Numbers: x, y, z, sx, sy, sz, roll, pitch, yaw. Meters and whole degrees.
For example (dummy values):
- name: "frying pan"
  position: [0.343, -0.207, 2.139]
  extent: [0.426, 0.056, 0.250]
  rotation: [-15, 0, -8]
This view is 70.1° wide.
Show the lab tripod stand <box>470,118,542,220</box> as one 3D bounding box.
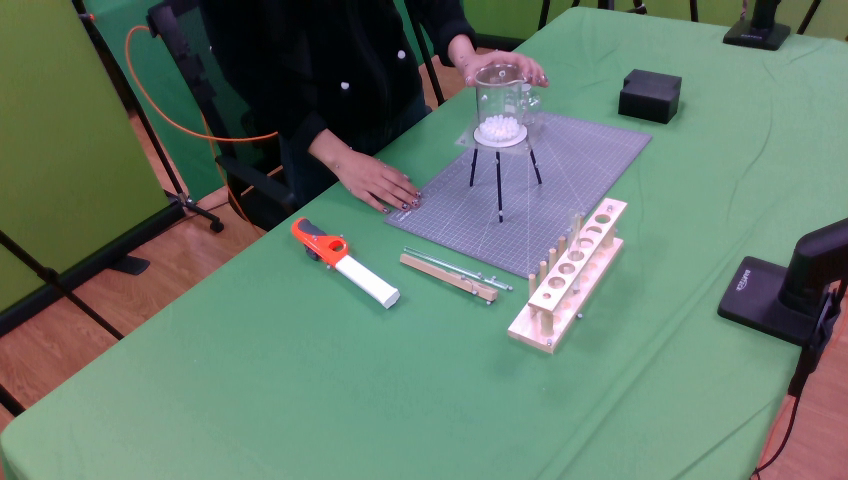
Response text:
- name: "lab tripod stand"
  position: [0.135, -0.128, 1.019]
  extent: [0.148, 0.132, 0.147]
  rotation: [-5, 38, 5]

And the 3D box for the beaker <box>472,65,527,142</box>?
- name: "beaker"
  position: [0.120, -0.211, 0.942]
  extent: [0.083, 0.101, 0.074]
  rotation: [10, 42, 21]

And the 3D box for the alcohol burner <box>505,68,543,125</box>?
- name: "alcohol burner"
  position: [0.201, -0.293, 1.216]
  extent: [0.078, 0.119, 0.077]
  rotation: [-4, 41, 4]

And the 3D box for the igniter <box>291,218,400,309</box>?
- name: "igniter"
  position: [-0.136, 0.031, 0.970]
  extent: [0.057, 0.025, 0.274]
  rotation: [-41, 49, -19]

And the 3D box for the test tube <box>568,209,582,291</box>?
- name: "test tube"
  position: [0.200, 0.017, 0.799]
  extent: [0.017, 0.151, 0.017]
  rotation: [-8, 45, 8]

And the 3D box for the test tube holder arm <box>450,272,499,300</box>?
- name: "test tube holder arm"
  position: [0.071, 0.068, 0.895]
  extent: [0.087, 0.015, 0.010]
  rotation: [21, 16, 32]

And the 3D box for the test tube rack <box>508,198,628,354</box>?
- name: "test tube rack"
  position: [0.206, 0.039, 0.850]
  extent: [0.066, 0.085, 0.243]
  rotation: [20, 48, 31]

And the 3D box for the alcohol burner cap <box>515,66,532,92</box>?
- name: "alcohol burner cap"
  position: [0.198, -0.320, 1.192]
  extent: [0.034, 0.048, 0.033]
  rotation: [0, 48, 1]

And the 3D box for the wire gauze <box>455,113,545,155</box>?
- name: "wire gauze"
  position: [0.124, -0.175, 0.973]
  extent: [0.124, 0.011, 0.121]
  rotation: [8, 39, 21]

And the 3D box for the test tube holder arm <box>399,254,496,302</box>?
- name: "test tube holder arm"
  position: [0.032, 0.055, 0.914]
  extent: [0.177, 0.015, 0.013]
  rotation: [21, 16, 32]

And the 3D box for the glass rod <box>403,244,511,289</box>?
- name: "glass rod"
  position: [0.047, 0.039, 0.938]
  extent: [0.198, 0.008, 0.008]
  rotation: [21, 49, 30]
